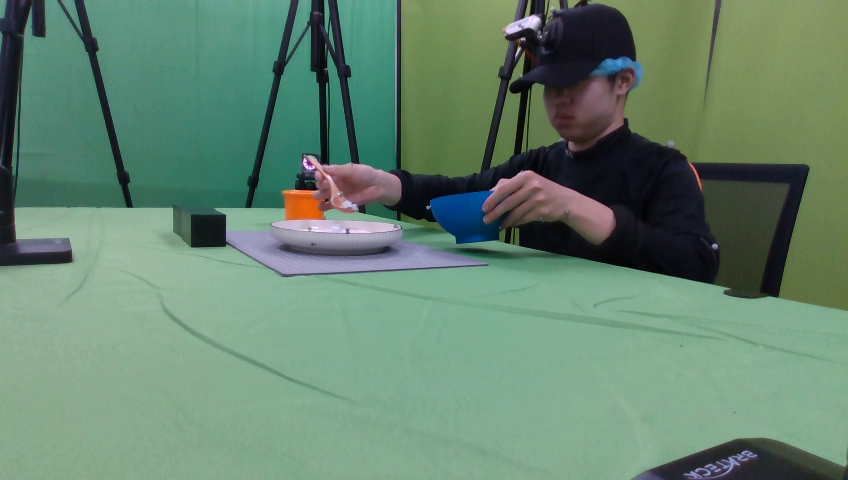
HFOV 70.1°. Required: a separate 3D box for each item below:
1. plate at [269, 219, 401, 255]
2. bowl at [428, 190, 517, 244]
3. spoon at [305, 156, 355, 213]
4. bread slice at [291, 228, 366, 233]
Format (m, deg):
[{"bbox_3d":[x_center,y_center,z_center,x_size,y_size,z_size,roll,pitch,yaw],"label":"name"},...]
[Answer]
[{"bbox_3d":[-0.140,-0.006,0.958,0.209,0.038,0.209,3,7,0],"label":"plate"},{"bbox_3d":[0.085,-0.035,1.011,0.151,0.076,0.151,-6,-2,0],"label":"bowl"},{"bbox_3d":[-0.164,-0.097,1.020,0.042,0.021,0.193,5,34,-36],"label":"spoon"},{"bbox_3d":[-0.143,-0.003,0.953,0.135,0.018,0.106,-1,8,-37],"label":"bread slice"}]
